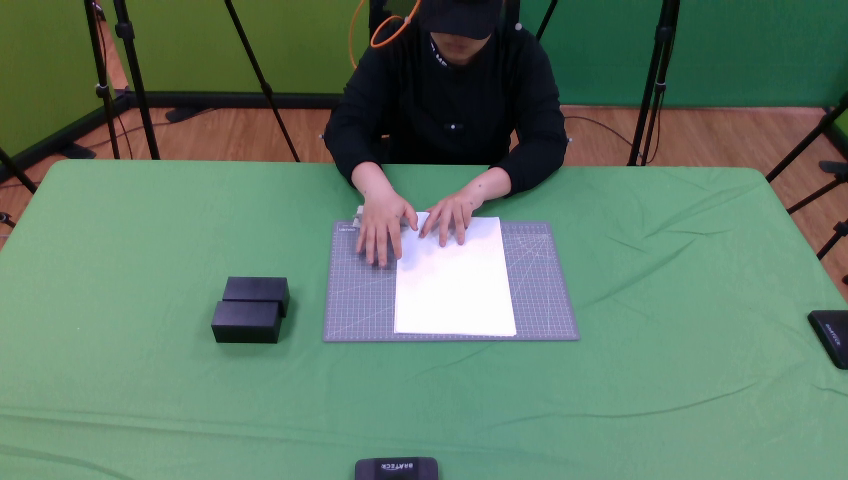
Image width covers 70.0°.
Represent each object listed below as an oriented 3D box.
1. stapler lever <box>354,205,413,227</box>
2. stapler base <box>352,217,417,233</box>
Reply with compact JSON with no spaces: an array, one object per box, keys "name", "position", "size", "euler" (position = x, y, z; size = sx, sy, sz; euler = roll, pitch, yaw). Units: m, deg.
[{"name":"stapler lever","position":[-0.079,-0.050,1.214],"size":[0.118,0.040,0.026],"euler":[14,45,-4]},{"name":"stapler base","position":[-0.079,-0.041,1.225],"size":[0.130,0.024,0.041],"euler":[6,45,4]}]
